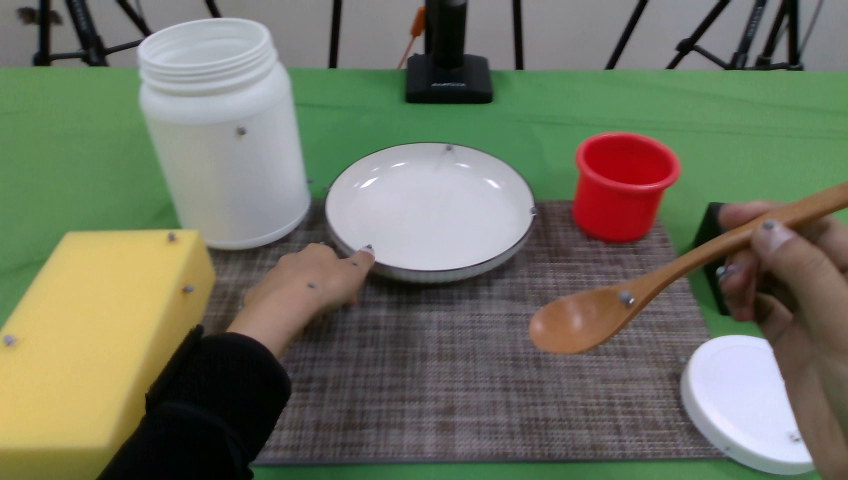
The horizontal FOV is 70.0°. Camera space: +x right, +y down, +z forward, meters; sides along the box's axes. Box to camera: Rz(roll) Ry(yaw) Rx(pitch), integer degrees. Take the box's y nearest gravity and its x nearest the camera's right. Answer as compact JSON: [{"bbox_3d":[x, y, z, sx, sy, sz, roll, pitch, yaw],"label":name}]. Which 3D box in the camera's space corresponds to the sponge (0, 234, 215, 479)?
[{"bbox_3d":[-0.251,0.084,0.467,0.118,0.061,0.204,-2,41,0],"label":"sponge"}]

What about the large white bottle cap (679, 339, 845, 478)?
[{"bbox_3d":[0.255,0.124,0.462,0.115,0.018,0.113,2,42,-2],"label":"large white bottle cap"}]

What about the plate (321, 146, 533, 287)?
[{"bbox_3d":[0.004,-0.023,0.608,0.209,0.038,0.207,1,41,0],"label":"plate"}]

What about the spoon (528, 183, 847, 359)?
[{"bbox_3d":[0.135,0.012,0.293,0.194,0.022,0.041,-33,28,29],"label":"spoon"}]

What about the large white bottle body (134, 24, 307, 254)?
[{"bbox_3d":[-0.188,-0.094,0.572,0.130,0.186,0.129,-1,39,1],"label":"large white bottle body"}]
